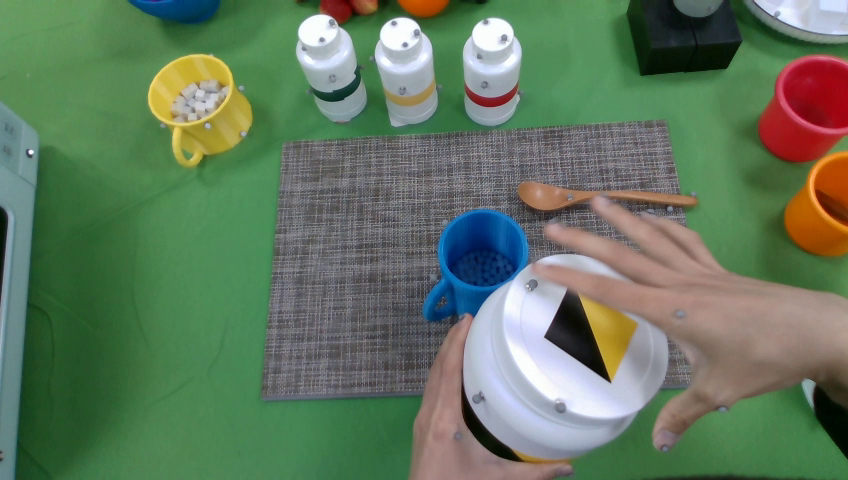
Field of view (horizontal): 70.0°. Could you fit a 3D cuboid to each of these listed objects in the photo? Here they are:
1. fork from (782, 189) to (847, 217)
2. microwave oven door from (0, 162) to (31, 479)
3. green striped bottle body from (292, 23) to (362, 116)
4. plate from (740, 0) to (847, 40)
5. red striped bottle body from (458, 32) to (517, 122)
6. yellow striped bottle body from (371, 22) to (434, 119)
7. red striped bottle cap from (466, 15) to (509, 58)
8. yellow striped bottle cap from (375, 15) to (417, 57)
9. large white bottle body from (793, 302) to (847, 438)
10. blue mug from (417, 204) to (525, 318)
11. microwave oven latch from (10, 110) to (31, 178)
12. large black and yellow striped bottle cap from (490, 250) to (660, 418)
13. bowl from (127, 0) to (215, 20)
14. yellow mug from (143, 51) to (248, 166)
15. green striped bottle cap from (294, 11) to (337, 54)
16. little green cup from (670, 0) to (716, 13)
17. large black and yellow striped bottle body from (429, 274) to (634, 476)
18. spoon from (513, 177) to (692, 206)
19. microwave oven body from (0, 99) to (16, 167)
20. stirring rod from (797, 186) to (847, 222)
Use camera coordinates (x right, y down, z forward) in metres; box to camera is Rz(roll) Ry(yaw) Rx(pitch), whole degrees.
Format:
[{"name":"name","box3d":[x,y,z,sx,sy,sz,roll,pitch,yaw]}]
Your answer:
[{"name":"fork","box3d":[0.432,-0.020,0.560,0.028,0.019,0.205,-30,24,-15]},{"name":"microwave oven door","box3d":[-0.451,0.051,0.531,0.039,0.245,0.353,-12,68,0]},{"name":"green striped bottle body","box3d":[-0.111,-0.200,0.691,0.063,0.120,0.062,-1,68,4]},{"name":"plate","box3d":[0.475,-0.326,0.740,0.209,0.038,0.207,-1,69,4]},{"name":"red striped bottle body","box3d":[0.070,-0.190,0.673,0.063,0.120,0.062,-2,67,4]},{"name":"yellow striped bottle body","box3d":[-0.024,-0.195,0.682,0.063,0.121,0.062,-2,67,5]},{"name":"red striped bottle cap","box3d":[0.066,-0.210,0.624,0.044,0.018,0.044,0,66,0]},{"name":"yellow striped bottle cap","box3d":[-0.029,-0.214,0.634,0.044,0.019,0.044,0,64,0]},{"name":"large white bottle body","box3d":[0.411,0.096,0.496,0.130,0.186,0.129,-2,67,4]},{"name":"blue mug","box3d":[0.041,0.034,0.589,0.116,0.106,0.082,-38,70,-11]},{"name":"microwave oven latch","box3d":[-0.481,-0.110,0.707,0.030,0.030,0.078,-10,68,0]},{"name":"large black and yellow striped bottle cap","box3d":[0.100,0.059,0.401,0.115,0.019,0.114,7,60,-11]},{"name":"bowl","box3d":[-0.321,-0.343,0.787,0.151,0.077,0.150,-1,68,4]},{"name":"yellow mug","box3d":[-0.271,-0.149,0.712,0.100,0.064,0.130,7,69,7]},{"name":"green striped bottle cap","box3d":[-0.116,-0.220,0.643,0.044,0.020,0.044,-1,66,4]},{"name":"little green cup","box3d":[0.308,-0.289,0.684,0.061,0.039,0.061,-1,66,3]},{"name":"large black and yellow striped bottle body","box3d":[0.084,0.102,0.472,0.131,0.185,0.129,6,58,-10]},{"name":"spoon","box3d":[0.193,-0.051,0.656,0.193,0.022,0.041,1,47,4]},{"name":"microwave oven body","box3d":[-0.601,0.043,0.552,0.326,0.262,0.438,-11,68,-1]},{"name":"stirring rod","box3d":[0.403,-0.020,0.571,0.014,0.006,0.175,0,25,2]}]
